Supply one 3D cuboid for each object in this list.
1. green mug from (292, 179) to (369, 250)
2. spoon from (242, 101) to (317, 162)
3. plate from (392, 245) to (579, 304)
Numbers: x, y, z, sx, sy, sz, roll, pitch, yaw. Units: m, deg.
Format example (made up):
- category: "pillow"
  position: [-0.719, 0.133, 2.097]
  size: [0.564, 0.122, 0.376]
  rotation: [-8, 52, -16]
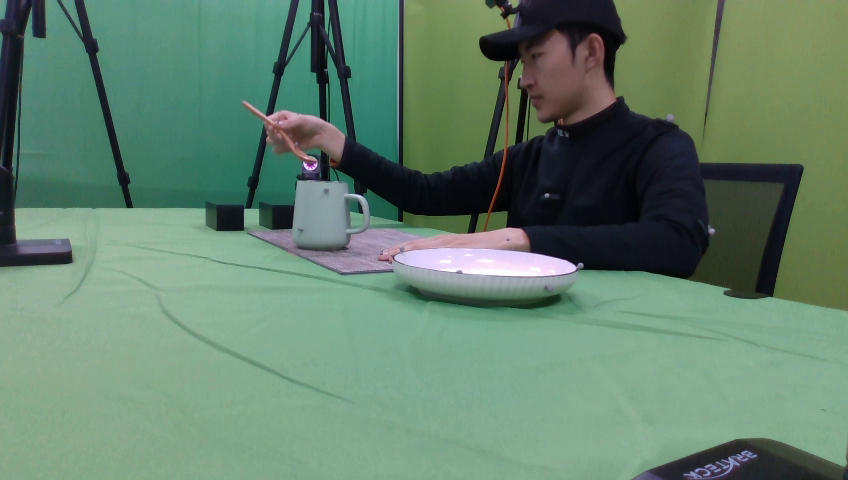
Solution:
- category: "green mug"
  position: [-0.144, -0.040, 0.944]
  size: [0.125, 0.105, 0.093]
  rotation: [4, 7, 16]
- category: "spoon"
  position: [-0.291, -0.219, 1.217]
  size: [0.193, 0.021, 0.042]
  rotation: [44, 16, 3]
- category: "plate"
  position: [0.066, 0.038, 0.684]
  size: [0.209, 0.038, 0.209]
  rotation: [2, 7, 0]
